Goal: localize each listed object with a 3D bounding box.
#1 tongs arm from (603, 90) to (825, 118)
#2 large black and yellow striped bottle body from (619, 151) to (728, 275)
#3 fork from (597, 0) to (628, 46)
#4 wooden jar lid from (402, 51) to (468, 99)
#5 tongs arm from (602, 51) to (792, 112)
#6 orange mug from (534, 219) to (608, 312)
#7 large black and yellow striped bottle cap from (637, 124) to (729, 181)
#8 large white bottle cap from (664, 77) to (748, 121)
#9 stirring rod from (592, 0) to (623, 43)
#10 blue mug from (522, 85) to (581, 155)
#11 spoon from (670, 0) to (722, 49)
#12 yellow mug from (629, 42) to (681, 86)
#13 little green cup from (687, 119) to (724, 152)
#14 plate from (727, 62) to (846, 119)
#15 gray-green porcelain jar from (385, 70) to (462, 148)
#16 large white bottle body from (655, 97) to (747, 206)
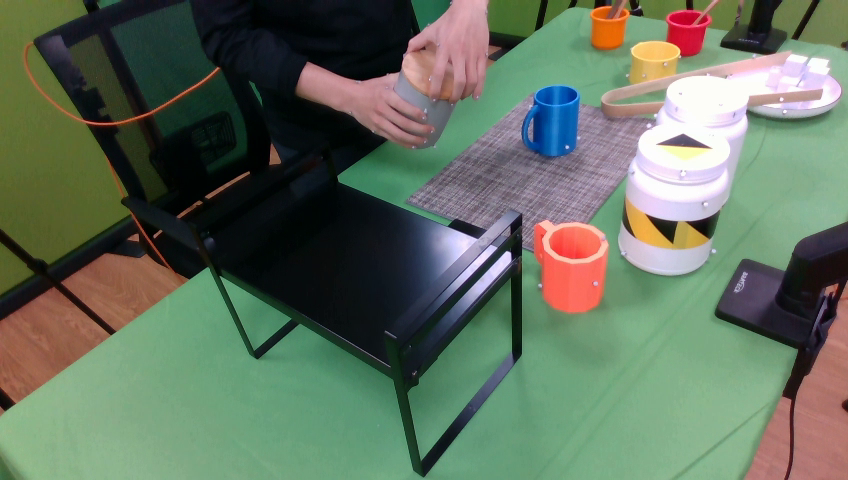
[{"bbox_3d":[0.546,-0.262,1.163,0.386,0.028,0.028,-1,49,18],"label":"tongs arm"},{"bbox_3d":[0.354,-0.056,0.865,0.131,0.185,0.130,-4,41,4],"label":"large black and yellow striped bottle body"},{"bbox_3d":[0.479,-0.558,1.455,0.028,0.019,0.207,35,100,38],"label":"fork"},{"bbox_3d":[0.016,-0.261,0.967,0.109,0.020,0.108,11,52,-14],"label":"wooden jar lid"},{"bbox_3d":[0.552,-0.320,1.224,0.384,0.027,0.050,-10,43,7],"label":"tongs arm"},{"bbox_3d":[0.200,0.027,0.858,0.084,0.101,0.125,-24,47,-18],"label":"orange mug"},{"bbox_3d":[0.346,-0.119,0.810,0.115,0.019,0.114,-5,41,5],"label":"large black and yellow striped bottle cap"},{"bbox_3d":[0.421,-0.212,0.905,0.115,0.018,0.114,-4,40,4],"label":"large white bottle cap"},{"bbox_3d":[0.460,-0.557,1.461,0.014,0.176,0.006,35,11,22],"label":"stirring rod"},{"bbox_3d":[0.233,-0.218,1.127,0.117,0.106,0.081,-23,43,-16],"label":"blue mug"},{"bbox_3d":[0.639,-0.510,1.380,0.193,0.022,0.041,-49,40,19],"label":"spoon"},{"bbox_3d":[0.495,-0.389,1.321,0.100,0.064,0.130,-14,40,-6],"label":"yellow mug"},{"bbox_3d":[0.514,-0.191,1.109,0.061,0.039,0.061,-5,40,5],"label":"little green cup"},{"bbox_3d":[0.709,-0.292,1.197,0.207,0.039,0.206,-4,40,4],"label":"plate"},{"bbox_3d":[-0.004,-0.226,1.014,0.106,0.126,0.105,12,52,-15],"label":"gray-green porcelain jar"},{"bbox_3d":[0.431,-0.148,0.959,0.130,0.185,0.130,-4,41,4],"label":"large white bottle body"}]
